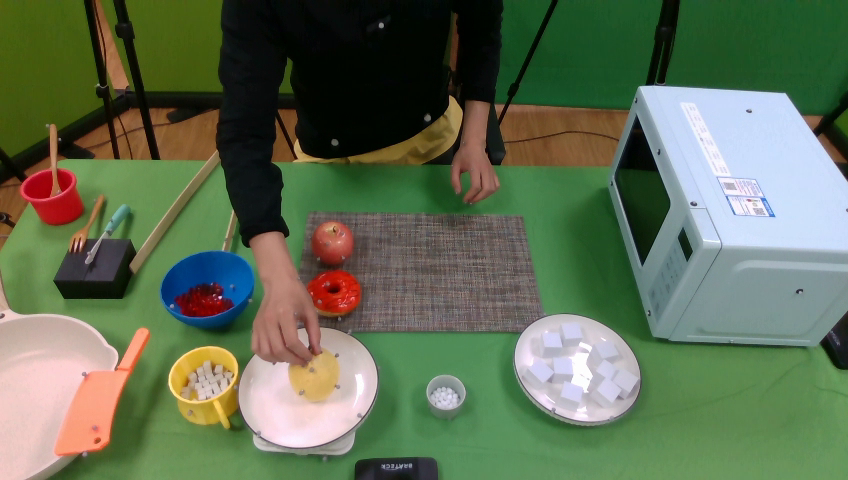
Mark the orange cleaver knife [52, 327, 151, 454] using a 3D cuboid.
[{"bbox_3d":[-0.462,0.212,0.879,0.077,0.012,0.210,7,45,-2],"label":"orange cleaver knife"}]

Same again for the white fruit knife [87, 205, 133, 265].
[{"bbox_3d":[-0.584,-0.013,1.129,0.016,0.027,0.206,0,31,-5],"label":"white fruit knife"}]

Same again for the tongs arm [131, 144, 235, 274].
[{"bbox_3d":[-0.484,-0.077,1.235,0.028,0.028,0.385,6,45,13],"label":"tongs arm"}]

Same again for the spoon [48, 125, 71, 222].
[{"bbox_3d":[-0.718,-0.131,1.188,0.042,0.021,0.193,-3,90,-7],"label":"spoon"}]

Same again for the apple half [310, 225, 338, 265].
[{"bbox_3d":[-0.192,0.017,1.125,0.033,0.081,0.081,-26,53,-31],"label":"apple half"}]

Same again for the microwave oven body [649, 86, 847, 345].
[{"bbox_3d":[0.567,-0.053,1.118,0.326,0.261,0.439,2,45,-1],"label":"microwave oven body"}]

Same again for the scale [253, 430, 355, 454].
[{"bbox_3d":[-0.175,0.236,0.951,0.149,0.032,0.199,4,45,0],"label":"scale"}]

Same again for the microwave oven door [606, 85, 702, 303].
[{"bbox_3d":[0.422,-0.094,1.140,0.039,0.245,0.353,2,46,-1],"label":"microwave oven door"}]

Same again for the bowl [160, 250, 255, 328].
[{"bbox_3d":[-0.362,0.098,1.040,0.151,0.077,0.150,2,45,-2],"label":"bowl"}]

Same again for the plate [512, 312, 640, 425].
[{"bbox_3d":[0.246,0.213,0.999,0.208,0.039,0.206,2,46,-2],"label":"plate"}]

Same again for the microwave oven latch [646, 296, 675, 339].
[{"bbox_3d":[0.412,0.134,1.061,0.030,0.029,0.078,4,45,1],"label":"microwave oven latch"}]

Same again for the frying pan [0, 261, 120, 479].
[{"bbox_3d":[-0.647,0.164,0.936,0.307,0.103,0.485,-19,58,-22],"label":"frying pan"}]

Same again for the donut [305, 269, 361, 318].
[{"bbox_3d":[-0.161,0.095,1.075,0.099,0.048,0.098,4,45,-4],"label":"donut"}]

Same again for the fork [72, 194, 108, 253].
[{"bbox_3d":[-0.634,-0.036,1.158,0.028,0.019,0.206,-7,32,-9],"label":"fork"}]

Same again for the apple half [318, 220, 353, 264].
[{"bbox_3d":[-0.162,0.001,1.144,0.053,0.075,0.080,-25,50,-29],"label":"apple half"}]

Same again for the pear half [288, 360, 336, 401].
[{"bbox_3d":[-0.164,0.211,0.882,0.070,0.088,0.031,0,45,-7],"label":"pear half"}]

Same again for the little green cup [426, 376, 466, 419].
[{"bbox_3d":[0.033,0.248,0.950,0.061,0.039,0.061,2,46,-2],"label":"little green cup"}]

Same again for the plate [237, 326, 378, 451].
[{"bbox_3d":[-0.173,0.224,0.917,0.209,0.038,0.208,2,46,-2],"label":"plate"}]

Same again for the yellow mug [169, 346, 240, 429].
[{"bbox_3d":[-0.323,0.230,0.922,0.100,0.064,0.130,-24,53,-26],"label":"yellow mug"}]

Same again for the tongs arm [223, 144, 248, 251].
[{"bbox_3d":[-0.398,-0.073,1.232,0.051,0.026,0.382,-2,45,0],"label":"tongs arm"}]

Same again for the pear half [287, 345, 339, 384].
[{"bbox_3d":[-0.164,0.179,0.900,0.076,0.110,0.055,1,46,-7],"label":"pear half"}]
